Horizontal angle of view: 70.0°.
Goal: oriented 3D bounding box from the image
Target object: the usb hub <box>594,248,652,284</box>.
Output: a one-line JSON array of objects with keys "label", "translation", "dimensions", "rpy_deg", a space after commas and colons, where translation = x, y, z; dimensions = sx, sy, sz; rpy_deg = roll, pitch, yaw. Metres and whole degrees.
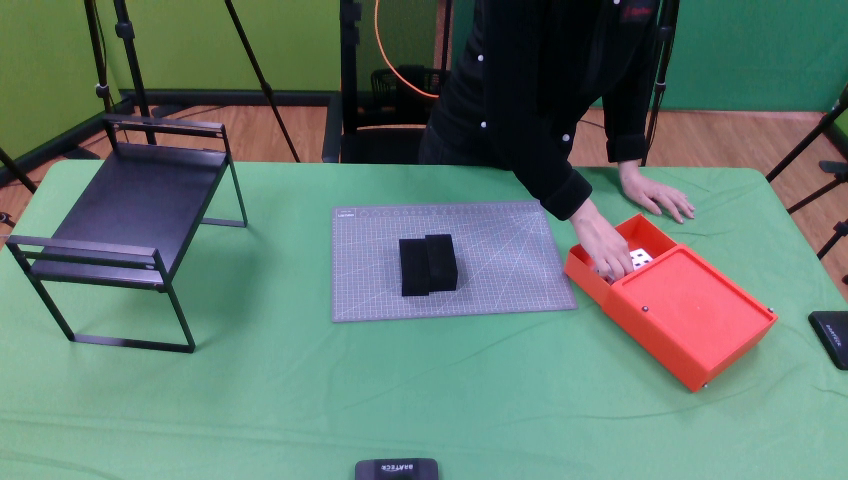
[{"label": "usb hub", "translation": [0.384, 0.051, 1.147], "dimensions": [0.125, 0.025, 0.049], "rpy_deg": [-14, 50, -30]}]

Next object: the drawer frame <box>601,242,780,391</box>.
[{"label": "drawer frame", "translation": [0.462, 0.125, 1.065], "dimensions": [0.202, 0.083, 0.212], "rpy_deg": [-26, 54, -26]}]

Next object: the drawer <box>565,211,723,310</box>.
[{"label": "drawer", "translation": [0.404, 0.063, 1.123], "dimensions": [0.194, 0.073, 0.210], "rpy_deg": [-23, 51, -24]}]
